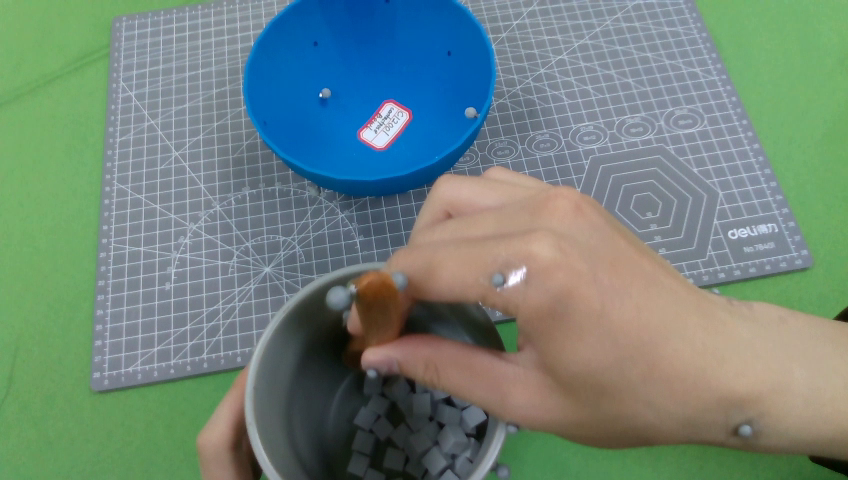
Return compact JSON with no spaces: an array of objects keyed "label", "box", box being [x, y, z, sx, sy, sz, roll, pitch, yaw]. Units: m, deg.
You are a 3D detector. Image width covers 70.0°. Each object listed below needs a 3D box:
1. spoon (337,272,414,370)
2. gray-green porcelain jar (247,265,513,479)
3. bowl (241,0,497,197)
[{"label":"spoon","box":[-0.019,0.040,0.250,0.042,0.194,0.021,-10,78,-8]},{"label":"gray-green porcelain jar","box":[-0.014,0.083,0.293,0.106,0.127,0.105,-1,66,3]},{"label":"bowl","box":[-0.031,-0.083,0.389,0.151,0.077,0.150,-1,66,2]}]
